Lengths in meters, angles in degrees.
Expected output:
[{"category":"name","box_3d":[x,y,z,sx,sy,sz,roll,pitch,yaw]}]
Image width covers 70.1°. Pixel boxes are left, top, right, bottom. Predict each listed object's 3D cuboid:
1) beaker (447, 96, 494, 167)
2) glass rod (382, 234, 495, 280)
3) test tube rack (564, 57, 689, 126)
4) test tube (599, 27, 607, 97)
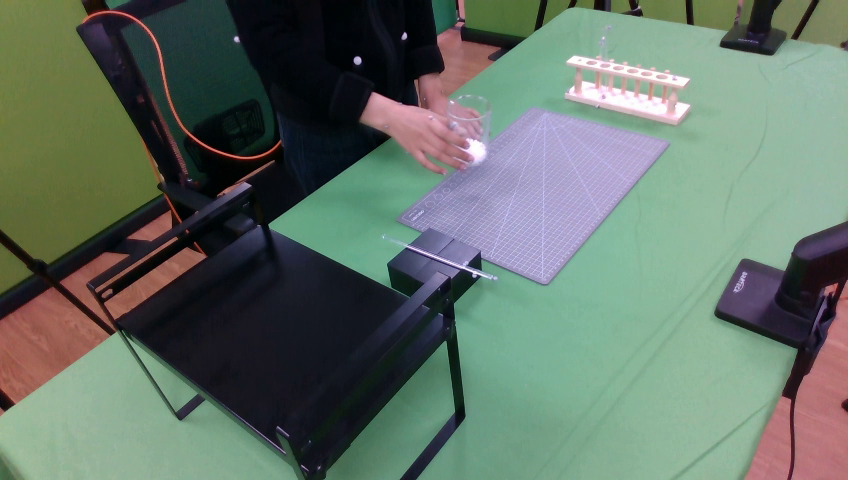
[{"category":"beaker","box_3d":[0.074,-0.182,1.016,0.074,0.100,0.083,-33,52,-29]},{"category":"glass rod","box_3d":[0.017,0.023,0.882,0.198,0.008,0.008,20,48,29]},{"category":"test tube rack","box_3d":[0.411,-0.311,1.230,0.240,0.085,0.067,23,49,32]},{"category":"test tube","box_3d":[0.358,-0.353,1.210,0.017,0.151,0.017,-8,43,8]}]
